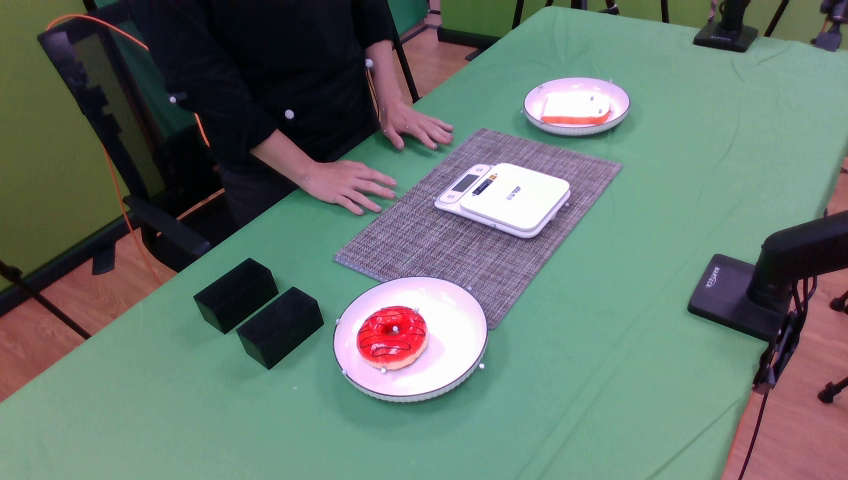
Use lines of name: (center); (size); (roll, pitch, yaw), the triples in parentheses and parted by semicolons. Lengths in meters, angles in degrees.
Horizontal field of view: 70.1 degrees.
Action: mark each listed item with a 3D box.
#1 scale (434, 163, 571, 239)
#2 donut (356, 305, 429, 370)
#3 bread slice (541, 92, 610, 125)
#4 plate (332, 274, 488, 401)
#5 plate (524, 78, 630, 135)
scale: (0.132, -0.075, 1.025); (0.199, 0.032, 0.149); (22, 48, 30)
donut: (-0.041, 0.127, 0.798); (0.099, 0.048, 0.098); (-7, 40, 7)
bread slice: (0.310, -0.268, 1.227); (0.131, 0.019, 0.105); (7, 43, 14)
plate: (-0.017, 0.130, 0.808); (0.207, 0.039, 0.206); (-4, 41, 4)
plate: (0.307, -0.265, 1.223); (0.209, 0.038, 0.208); (-4, 40, 4)
